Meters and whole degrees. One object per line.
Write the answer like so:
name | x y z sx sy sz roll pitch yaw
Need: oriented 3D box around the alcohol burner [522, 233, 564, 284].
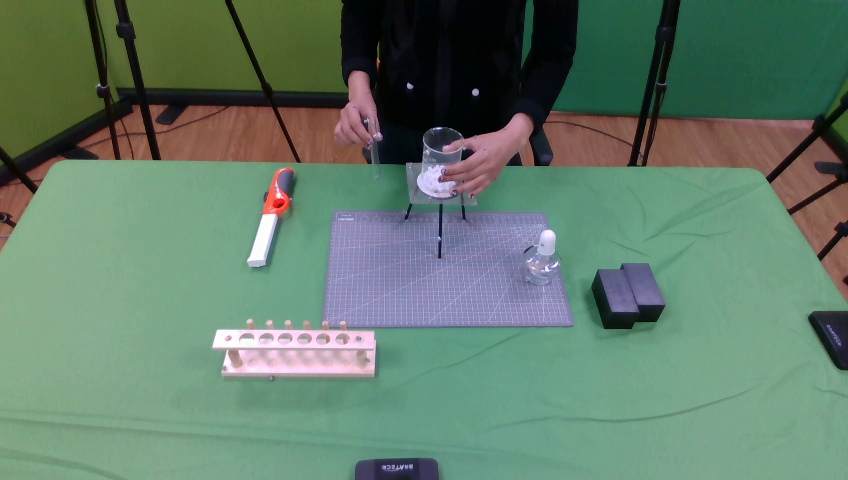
alcohol burner | 0.223 0.027 1.120 0.078 0.119 0.077 2 48 -2

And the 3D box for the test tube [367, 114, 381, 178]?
test tube | -0.096 -0.178 1.173 0.017 0.151 0.017 -1 48 1

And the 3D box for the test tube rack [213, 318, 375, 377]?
test tube rack | -0.202 0.169 0.977 0.242 0.085 0.066 1 46 -3

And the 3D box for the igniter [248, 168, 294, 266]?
igniter | -0.307 -0.055 1.225 0.057 0.025 0.275 -3 46 6

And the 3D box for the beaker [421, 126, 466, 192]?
beaker | 0.030 -0.146 1.100 0.074 0.101 0.083 -19 52 -22

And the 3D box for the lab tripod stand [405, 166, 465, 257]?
lab tripod stand | 0.030 -0.063 1.180 0.148 0.132 0.147 3 47 -3

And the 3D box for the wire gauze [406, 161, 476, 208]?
wire gauze | 0.031 -0.107 1.131 0.125 0.011 0.120 1 48 -7

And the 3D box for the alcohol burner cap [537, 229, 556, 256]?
alcohol burner cap | 0.223 0.001 1.095 0.034 0.048 0.033 -1 44 1
